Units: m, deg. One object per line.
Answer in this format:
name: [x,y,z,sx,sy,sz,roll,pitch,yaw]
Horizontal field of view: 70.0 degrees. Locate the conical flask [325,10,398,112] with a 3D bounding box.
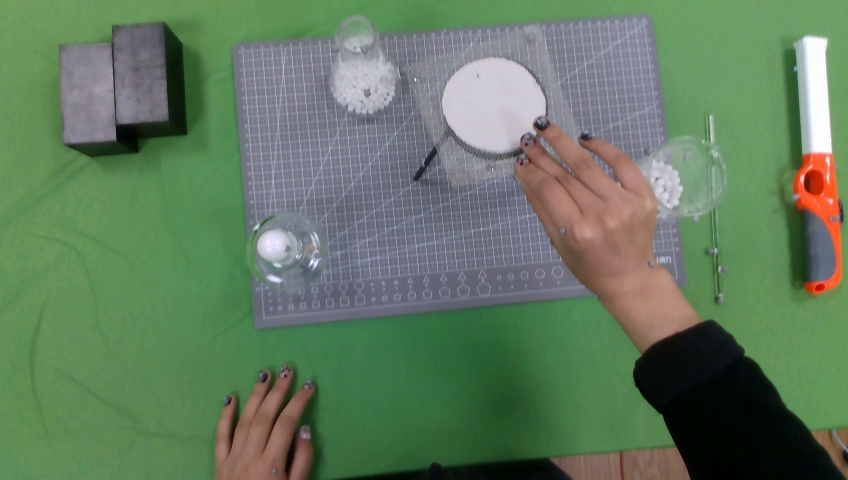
conical flask: [-0.063,-0.174,0.578,0.075,0.122,0.075,0,85,-2]

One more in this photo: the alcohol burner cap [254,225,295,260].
alcohol burner cap: [-0.132,0.002,0.530,0.034,0.048,0.034,0,89,-6]

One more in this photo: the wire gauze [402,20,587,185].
wire gauze: [0.058,-0.114,0.501,0.125,0.011,0.121,-17,79,-7]

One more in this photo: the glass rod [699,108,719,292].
glass rod: [0.305,-0.044,0.647,0.008,0.008,0.199,-2,86,-3]

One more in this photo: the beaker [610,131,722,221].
beaker: [0.234,-0.060,0.596,0.084,0.100,0.074,-43,88,-6]

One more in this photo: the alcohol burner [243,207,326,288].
alcohol burner: [-0.134,0.005,0.566,0.078,0.119,0.077,0,85,0]

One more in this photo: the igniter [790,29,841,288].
igniter: [0.415,-0.087,0.646,0.057,0.025,0.276,1,86,-13]

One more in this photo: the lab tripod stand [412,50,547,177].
lab tripod stand: [0.054,-0.108,0.574,0.148,0.131,0.148,0,87,-2]
